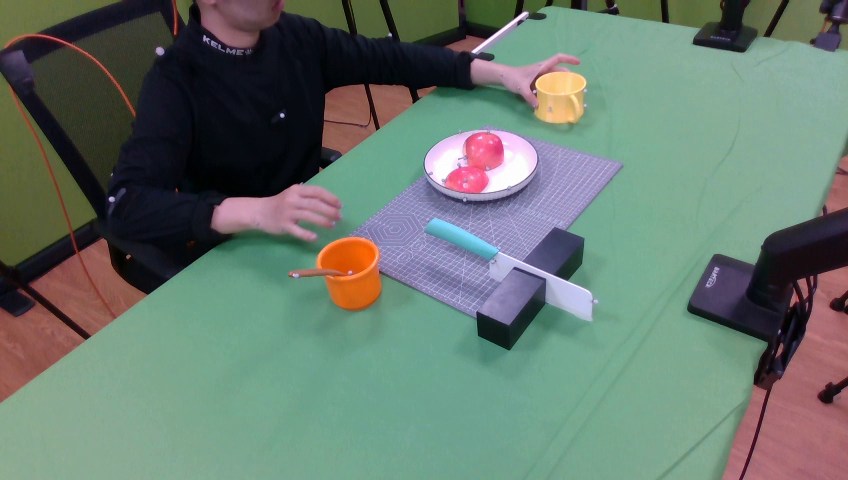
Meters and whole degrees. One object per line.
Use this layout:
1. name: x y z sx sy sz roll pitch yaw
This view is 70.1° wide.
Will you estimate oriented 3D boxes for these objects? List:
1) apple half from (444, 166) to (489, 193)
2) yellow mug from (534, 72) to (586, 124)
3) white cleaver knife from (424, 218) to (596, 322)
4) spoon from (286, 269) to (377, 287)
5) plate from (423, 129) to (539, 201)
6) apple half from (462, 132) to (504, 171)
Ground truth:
1. apple half: 0.074 -0.112 1.063 0.081 0.033 0.081 -6 39 5
2. yellow mug: 0.281 -0.281 1.222 0.100 0.064 0.130 -17 43 -10
3. white cleaver knife: 0.114 0.042 0.865 0.284 0.066 0.021 27 47 28
4. spoon: -0.125 0.049 0.831 0.041 0.195 0.021 22 92 28
5. plate: 0.103 -0.132 1.092 0.209 0.038 0.208 -4 40 4
6. apple half: 0.109 -0.170 1.110 0.075 0.053 0.080 -6 40 -2
